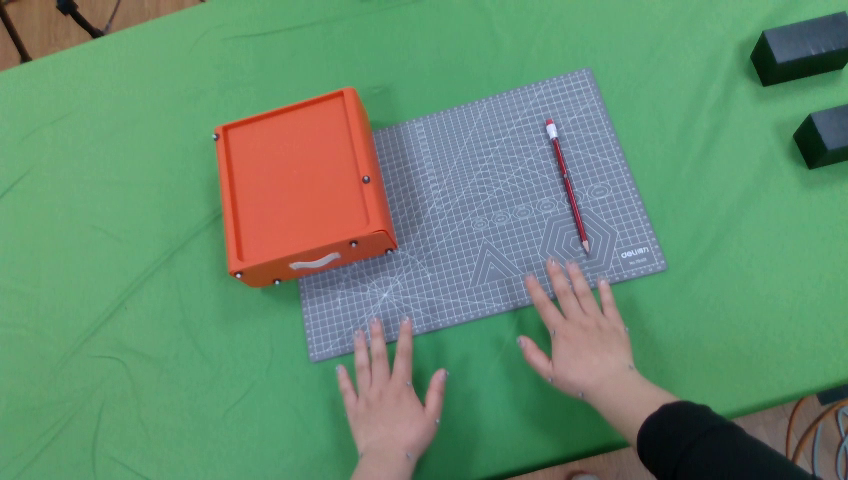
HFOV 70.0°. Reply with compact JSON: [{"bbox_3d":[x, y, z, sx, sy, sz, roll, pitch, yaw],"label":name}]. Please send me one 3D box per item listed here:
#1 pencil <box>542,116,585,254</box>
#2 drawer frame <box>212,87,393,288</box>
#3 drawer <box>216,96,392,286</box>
[{"bbox_3d":[0.179,-0.073,0.772,0.012,0.012,0.192,-13,72,5],"label":"pencil"},{"bbox_3d":[-0.161,-0.066,0.790,0.201,0.083,0.212,-16,68,5],"label":"drawer frame"},{"bbox_3d":[-0.159,-0.064,0.790,0.194,0.074,0.210,-16,67,5],"label":"drawer"}]
